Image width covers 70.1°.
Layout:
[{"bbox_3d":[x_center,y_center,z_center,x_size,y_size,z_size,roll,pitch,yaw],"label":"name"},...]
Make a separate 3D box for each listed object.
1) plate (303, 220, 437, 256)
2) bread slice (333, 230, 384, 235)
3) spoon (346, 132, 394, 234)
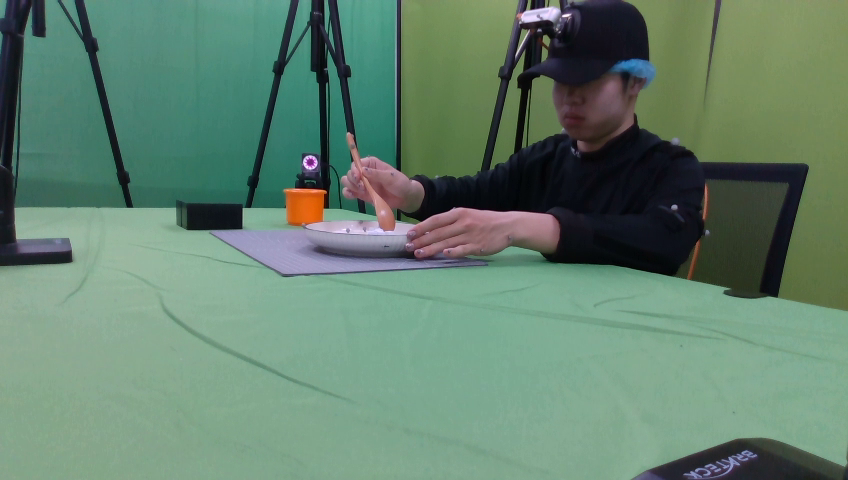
[{"bbox_3d":[-0.084,-0.003,0.951,0.209,0.038,0.209,3,7,0],"label":"plate"},{"bbox_3d":[-0.088,0.000,0.947,0.105,0.019,0.131,-4,11,-45],"label":"bread slice"},{"bbox_3d":[-0.092,-0.094,0.974,0.021,0.193,0.042,-40,-23,31],"label":"spoon"}]
